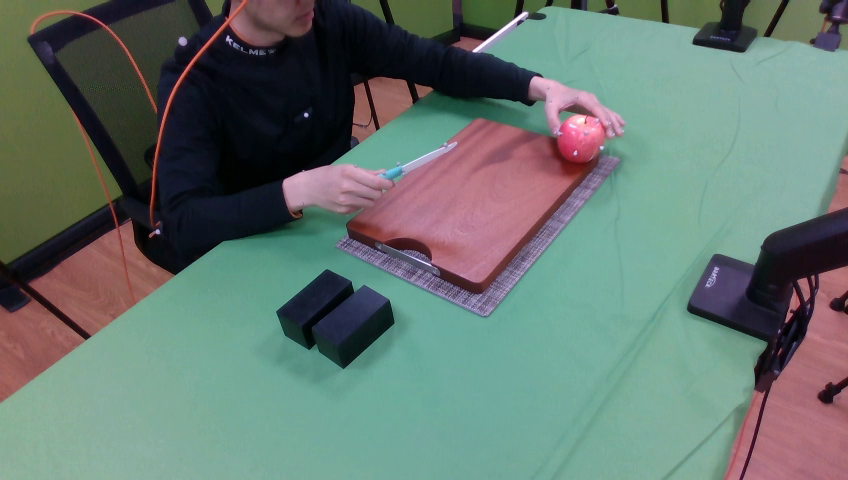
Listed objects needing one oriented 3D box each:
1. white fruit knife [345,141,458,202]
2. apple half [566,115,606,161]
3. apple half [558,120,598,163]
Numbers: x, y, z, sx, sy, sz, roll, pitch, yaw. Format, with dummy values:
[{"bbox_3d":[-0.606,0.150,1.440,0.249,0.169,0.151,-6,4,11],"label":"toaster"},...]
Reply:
[{"bbox_3d":[-0.038,-0.109,0.945,0.207,0.027,0.016,-25,67,16],"label":"white fruit knife"},{"bbox_3d":[0.284,-0.181,1.056,0.053,0.075,0.080,-34,45,-30],"label":"apple half"},{"bbox_3d":[0.256,-0.162,1.036,0.033,0.081,0.080,-33,47,-30],"label":"apple half"}]
